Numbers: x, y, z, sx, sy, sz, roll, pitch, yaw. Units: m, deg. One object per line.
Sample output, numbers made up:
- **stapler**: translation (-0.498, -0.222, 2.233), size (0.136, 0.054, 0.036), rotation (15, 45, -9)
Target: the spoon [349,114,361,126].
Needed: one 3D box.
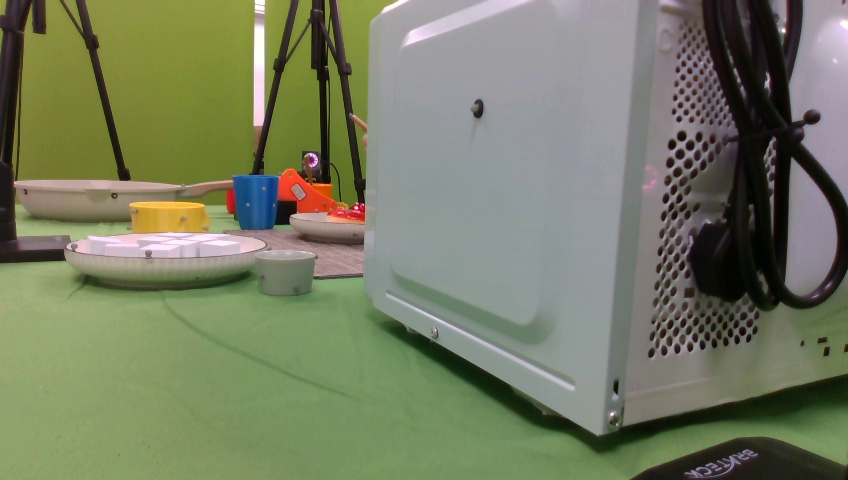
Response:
- **spoon**: translation (-0.057, -0.153, 1.024), size (0.193, 0.021, 0.042), rotation (46, 19, 10)

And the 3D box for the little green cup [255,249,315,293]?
- **little green cup**: translation (-0.144, 0.031, 0.627), size (0.061, 0.038, 0.061), rotation (2, 6, 0)

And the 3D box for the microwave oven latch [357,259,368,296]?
- **microwave oven latch**: translation (-0.019, 0.031, 0.528), size (0.079, 0.029, 0.030), rotation (-1, 7, -25)

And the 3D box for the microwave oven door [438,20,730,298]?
- **microwave oven door**: translation (0.181, -0.076, 0.618), size (0.358, 0.243, 0.039), rotation (-2, 8, -28)

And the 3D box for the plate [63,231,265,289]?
- **plate**: translation (-0.288, 0.021, 0.687), size (0.208, 0.039, 0.207), rotation (2, 8, 0)

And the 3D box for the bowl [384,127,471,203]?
- **bowl**: translation (0.017, -0.112, 0.995), size (0.151, 0.076, 0.151), rotation (-20, -14, -5)

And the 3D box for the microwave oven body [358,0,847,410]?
- **microwave oven body**: translation (0.210, -0.051, 0.471), size (0.444, 0.260, 0.324), rotation (-1, 7, -28)

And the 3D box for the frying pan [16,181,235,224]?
- **frying pan**: translation (-0.554, -0.097, 1.266), size (0.490, 0.102, 0.305), rotation (-10, 13, -24)

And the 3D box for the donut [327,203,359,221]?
- **donut**: translation (-0.120, -0.037, 1.056), size (0.099, 0.048, 0.099), rotation (5, 7, 0)

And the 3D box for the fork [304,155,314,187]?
- **fork**: translation (-0.268, -0.134, 1.446), size (0.028, 0.018, 0.207), rotation (1, -36, -1)

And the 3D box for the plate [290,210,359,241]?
- **plate**: translation (-0.127, -0.026, 1.051), size (0.209, 0.038, 0.209), rotation (3, 7, 0)

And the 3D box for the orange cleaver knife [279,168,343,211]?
- **orange cleaver knife**: translation (-0.236, -0.084, 1.333), size (0.212, 0.077, 0.012), rotation (31, -9, -31)

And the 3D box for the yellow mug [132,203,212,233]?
- **yellow mug**: translation (-0.356, -0.020, 0.878), size (0.099, 0.064, 0.131), rotation (5, 7, 22)

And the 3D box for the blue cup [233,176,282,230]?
- **blue cup**: translation (-0.314, -0.071, 1.141), size (0.093, 0.100, 0.092), rotation (0, 7, 0)
